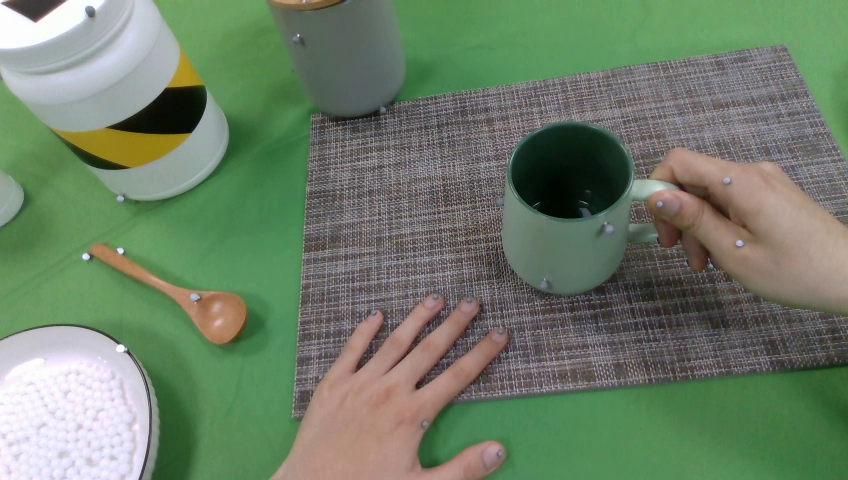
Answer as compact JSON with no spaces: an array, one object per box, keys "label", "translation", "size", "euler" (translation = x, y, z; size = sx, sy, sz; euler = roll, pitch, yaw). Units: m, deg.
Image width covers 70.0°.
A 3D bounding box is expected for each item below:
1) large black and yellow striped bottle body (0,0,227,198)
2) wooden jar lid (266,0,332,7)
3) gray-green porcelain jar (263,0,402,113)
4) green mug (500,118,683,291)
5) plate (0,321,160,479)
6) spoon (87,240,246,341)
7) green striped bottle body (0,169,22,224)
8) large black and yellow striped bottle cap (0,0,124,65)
[{"label":"large black and yellow striped bottle body","translation":[-0.268,-0.136,0.523],"size":[0.130,0.186,0.129],"euler":[-4,60,7]},{"label":"wooden jar lid","translation":[-0.087,-0.225,0.503],"size":[0.108,0.021,0.107],"euler":[-6,58,10]},{"label":"gray-green porcelain jar","translation":[-0.078,-0.190,0.554],"size":[0.106,0.128,0.105],"euler":[-4,55,7]},{"label":"green mug","translation":[0.115,-0.022,0.424],"size":[0.125,0.106,0.092],"euler":[1,62,10]},{"label":"plate","translation":[-0.287,0.161,0.439],"size":[0.209,0.038,0.207],"euler":[-4,59,7]},{"label":"spoon","translation":[-0.222,0.034,0.511],"size":[0.192,0.022,0.041],"euler":[22,84,20]},{"label":"green striped bottle body","translation":[-0.433,-0.064,0.546],"size":[0.063,0.120,0.062],"euler":[-4,59,8]},{"label":"large black and yellow striped bottle cap","translation":[-0.281,-0.177,0.451],"size":[0.115,0.019,0.114],"euler":[-4,59,6]}]
